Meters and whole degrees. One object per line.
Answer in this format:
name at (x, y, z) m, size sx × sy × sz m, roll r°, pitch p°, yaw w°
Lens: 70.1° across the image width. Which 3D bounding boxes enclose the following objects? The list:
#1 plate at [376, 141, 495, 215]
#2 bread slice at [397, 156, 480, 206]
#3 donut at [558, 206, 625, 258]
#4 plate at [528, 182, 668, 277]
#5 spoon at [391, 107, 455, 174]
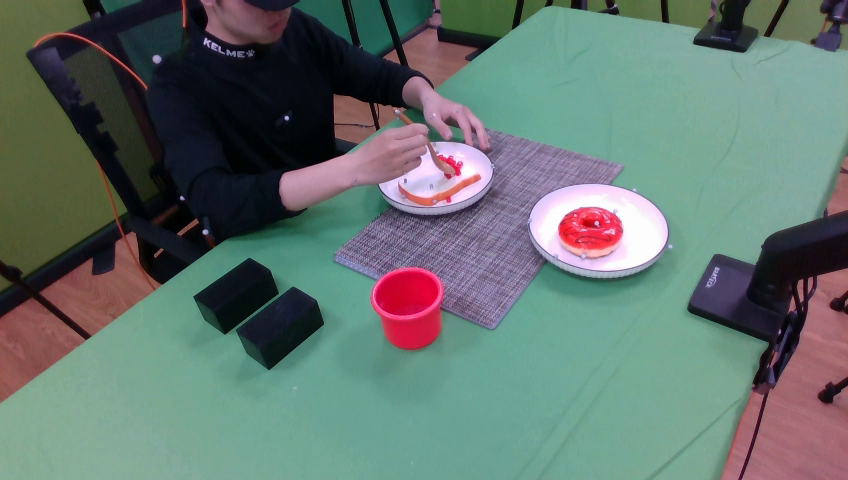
plate at (0.022, -0.106, 1.073) m, size 0.209 × 0.038 × 0.208 m, roll -4°, pitch 40°, yaw 4°
bread slice at (0.020, -0.106, 1.078) m, size 0.132 × 0.019 × 0.104 m, roll -31°, pitch 45°, yaw -29°
donut at (0.254, -0.015, 0.917) m, size 0.099 × 0.048 × 0.098 m, roll -5°, pitch 41°, yaw 5°
plate at (0.264, -0.014, 0.933) m, size 0.207 × 0.039 × 0.206 m, roll -3°, pitch 42°, yaw 3°
spoon at (0.001, -0.162, 0.990) m, size 0.021 × 0.195 × 0.041 m, roll -38°, pitch 51°, yaw 6°
